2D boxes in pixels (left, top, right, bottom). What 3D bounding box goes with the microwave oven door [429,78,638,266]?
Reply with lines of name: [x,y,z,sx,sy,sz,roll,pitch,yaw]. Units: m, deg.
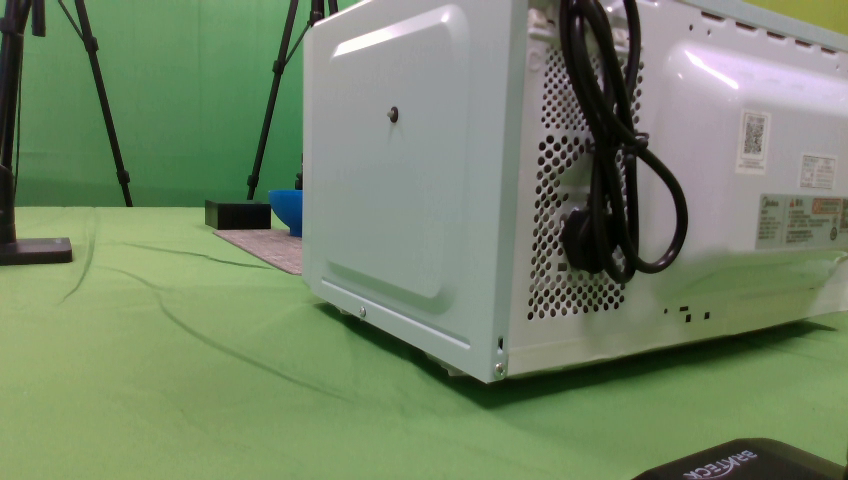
microwave oven door: [0.142,-0.106,0.903,0.039,0.243,0.354,-4,10,-41]

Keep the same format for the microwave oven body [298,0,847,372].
microwave oven body: [0.151,-0.055,0.543,0.444,0.260,0.324,-1,7,-33]

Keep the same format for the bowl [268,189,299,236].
bowl: [-0.205,-0.049,1.090,0.151,0.077,0.151,3,7,0]

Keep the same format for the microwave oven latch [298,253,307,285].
microwave oven latch: [-0.082,0.027,0.583,0.079,0.029,0.030,-1,7,-33]
